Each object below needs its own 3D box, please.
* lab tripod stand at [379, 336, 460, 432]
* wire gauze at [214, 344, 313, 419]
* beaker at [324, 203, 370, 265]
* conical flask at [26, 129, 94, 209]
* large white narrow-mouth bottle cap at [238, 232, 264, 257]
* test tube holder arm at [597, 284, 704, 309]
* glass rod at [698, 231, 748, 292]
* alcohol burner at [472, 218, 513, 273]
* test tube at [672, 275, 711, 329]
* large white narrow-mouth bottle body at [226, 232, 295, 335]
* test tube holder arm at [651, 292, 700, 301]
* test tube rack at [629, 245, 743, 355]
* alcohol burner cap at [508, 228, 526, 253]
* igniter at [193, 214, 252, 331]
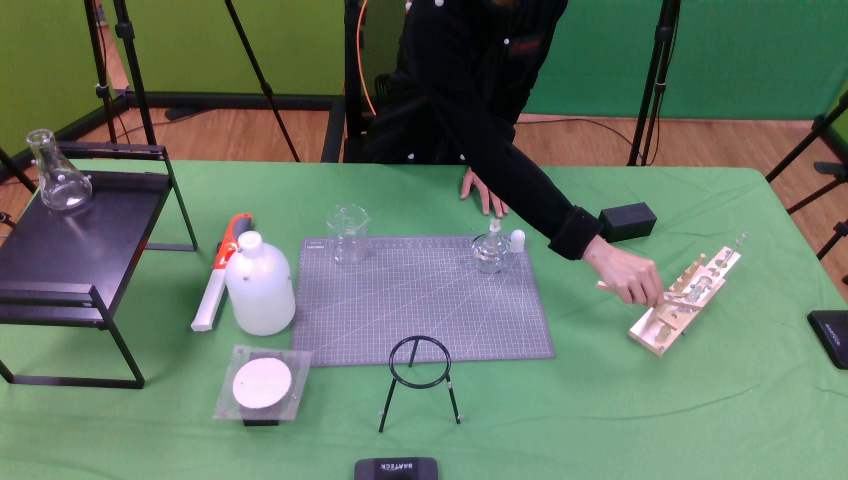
[{"bbox_3d":[-0.010,0.214,0.911,0.148,0.132,0.147,1,45,0],"label":"lab tripod stand"},{"bbox_3d":[-0.241,0.213,0.915,0.121,0.011,0.124,5,46,1],"label":"wire gauze"},{"bbox_3d":[-0.142,-0.009,1.137,0.084,0.101,0.073,-3,47,-7],"label":"beaker"},{"bbox_3d":[-0.575,-0.113,0.946,0.075,0.122,0.075,2,46,-2],"label":"conical flask"},{"bbox_3d":[-0.266,0.007,0.933,0.038,0.024,0.037,2,46,-2],"label":"large white narrow-mouth bottle cap"},{"bbox_3d":[0.368,0.092,0.984,0.179,0.015,0.013,8,43,-7],"label":"test tube holder arm"},{"bbox_3d":[0.514,0.044,1.051,0.008,0.200,0.008,1,55,-1],"label":"glass rod"},{"bbox_3d":[0.128,0.005,1.132,0.078,0.120,0.077,0,47,0],"label":"alcohol burner"},{"bbox_3d":[0.437,0.106,1.007,0.017,0.151,0.017,3,52,-3],"label":"test tube"},{"bbox_3d":[-0.270,0.065,0.995,0.102,0.195,0.101,2,46,-2],"label":"large white narrow-mouth bottle body"},{"bbox_3d":[0.412,0.093,0.995,0.088,0.015,0.010,1,45,-14],"label":"test tube holder arm"},{"bbox_3d":[0.474,0.095,1.091,0.242,0.085,0.066,-34,56,-31],"label":"test tube rack"},{"bbox_3d":[0.185,-0.002,1.192,0.034,0.048,0.033,3,43,-3],"label":"alcohol burner cap"},{"bbox_3d":[-0.368,0.050,1.119,0.057,0.025,0.275,-3,46,7],"label":"igniter"}]
